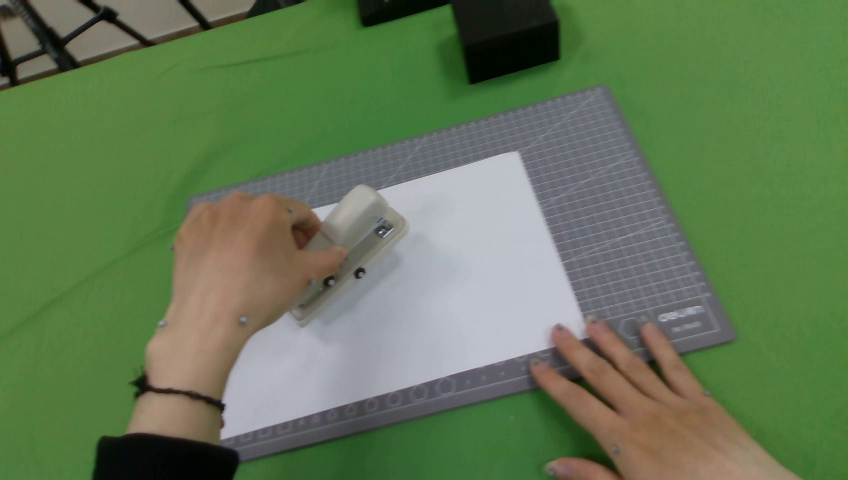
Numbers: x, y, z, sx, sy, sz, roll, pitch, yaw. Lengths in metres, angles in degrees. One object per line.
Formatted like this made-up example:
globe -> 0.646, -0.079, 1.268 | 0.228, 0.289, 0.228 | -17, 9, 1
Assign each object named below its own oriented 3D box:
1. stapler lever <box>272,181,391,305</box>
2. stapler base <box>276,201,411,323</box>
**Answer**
stapler lever -> -0.075, 0.000, 0.488 | 0.118, 0.040, 0.026 | -43, 60, -12
stapler base -> -0.069, 0.011, 0.511 | 0.130, 0.025, 0.041 | -43, 60, -12
